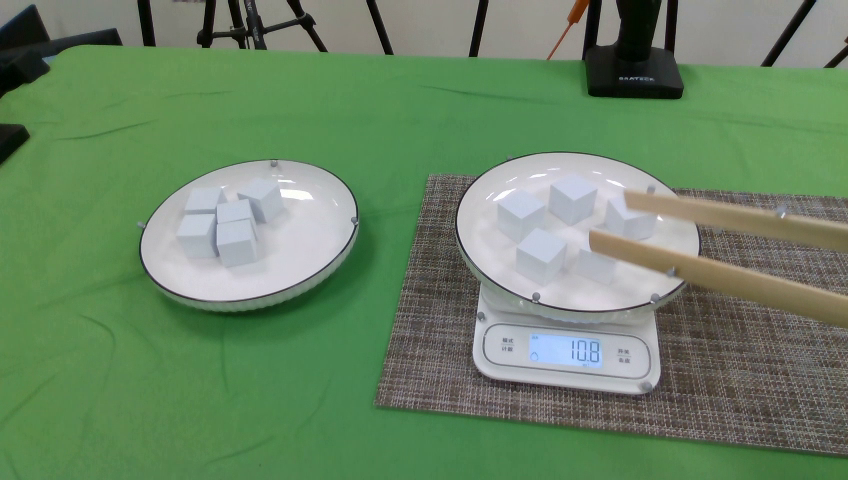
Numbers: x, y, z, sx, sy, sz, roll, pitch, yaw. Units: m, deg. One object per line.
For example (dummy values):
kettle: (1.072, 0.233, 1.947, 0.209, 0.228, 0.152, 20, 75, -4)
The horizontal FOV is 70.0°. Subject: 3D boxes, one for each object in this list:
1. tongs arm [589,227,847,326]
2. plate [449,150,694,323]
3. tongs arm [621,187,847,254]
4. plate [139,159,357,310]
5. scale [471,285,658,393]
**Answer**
tongs arm: (0.275, 0.040, 0.358, 0.384, 0.028, 0.028, 17, 47, 39)
plate: (0.126, -0.004, 0.538, 0.208, 0.039, 0.205, -1, 44, 1)
tongs arm: (0.297, 0.019, 0.374, 0.381, 0.027, 0.050, 15, 49, 38)
plate: (-0.169, -0.006, 0.602, 0.209, 0.038, 0.207, -1, 43, 1)
scale: (0.124, 0.039, 0.540, 0.148, 0.032, 0.199, 5, 45, 8)
